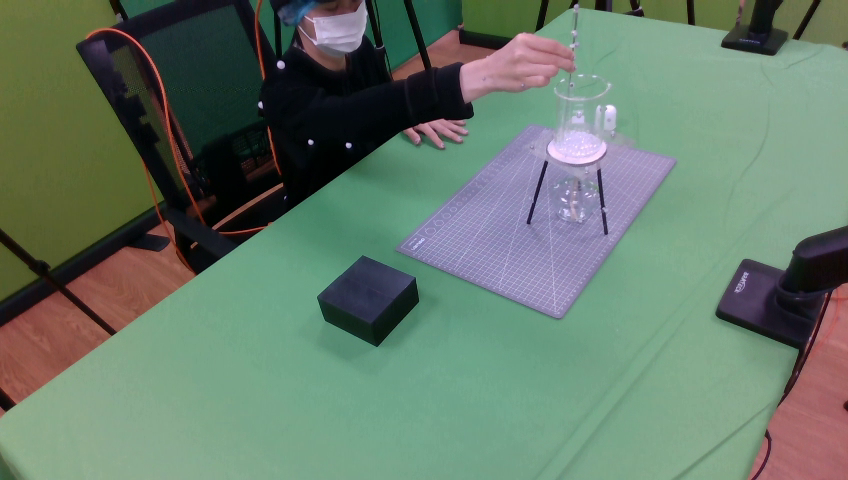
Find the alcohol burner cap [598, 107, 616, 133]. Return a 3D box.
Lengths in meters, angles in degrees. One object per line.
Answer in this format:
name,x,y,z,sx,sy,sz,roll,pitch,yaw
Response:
alcohol burner cap,0.361,-0.238,1.189,0.034,0.048,0.033,-4,40,4

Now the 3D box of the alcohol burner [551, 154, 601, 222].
alcohol burner,0.244,-0.088,0.966,0.078,0.119,0.077,-3,40,3

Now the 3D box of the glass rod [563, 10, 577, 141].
glass rod,0.203,-0.223,0.845,0.008,0.200,0.008,-4,43,4

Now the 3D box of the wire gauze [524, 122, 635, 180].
wire gauze,0.233,-0.142,0.913,0.122,0.011,0.124,-31,43,-26

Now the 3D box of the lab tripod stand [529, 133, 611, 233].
lab tripod stand,0.236,-0.089,0.953,0.148,0.132,0.147,-5,42,5

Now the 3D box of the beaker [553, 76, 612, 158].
beaker,0.230,-0.178,0.882,0.084,0.101,0.073,-9,41,1
